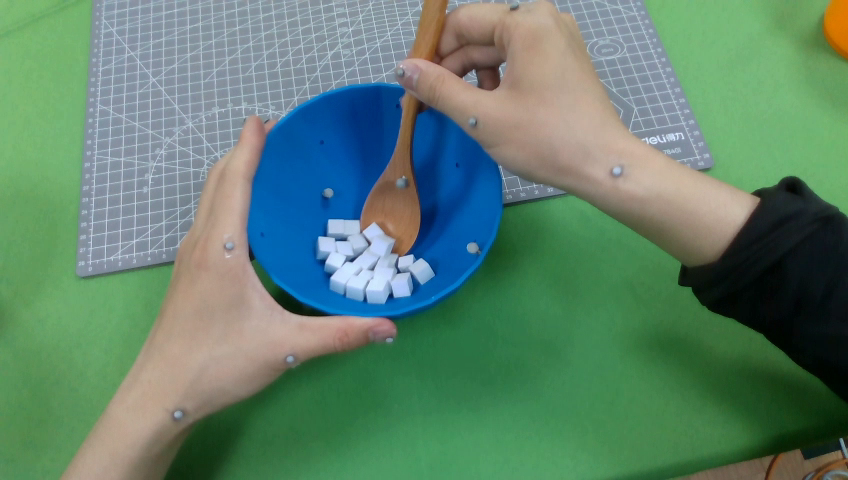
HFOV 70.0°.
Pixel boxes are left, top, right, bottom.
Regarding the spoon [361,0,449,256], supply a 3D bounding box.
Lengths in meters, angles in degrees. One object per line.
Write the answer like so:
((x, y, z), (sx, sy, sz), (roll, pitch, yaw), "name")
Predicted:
((-0.006, -0.075, 0.347), (0.041, 0.195, 0.021), (26, 34, 18), "spoon")

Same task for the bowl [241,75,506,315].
((-0.028, -0.018, 0.380), (0.151, 0.077, 0.150), (0, 69, 0), "bowl")
